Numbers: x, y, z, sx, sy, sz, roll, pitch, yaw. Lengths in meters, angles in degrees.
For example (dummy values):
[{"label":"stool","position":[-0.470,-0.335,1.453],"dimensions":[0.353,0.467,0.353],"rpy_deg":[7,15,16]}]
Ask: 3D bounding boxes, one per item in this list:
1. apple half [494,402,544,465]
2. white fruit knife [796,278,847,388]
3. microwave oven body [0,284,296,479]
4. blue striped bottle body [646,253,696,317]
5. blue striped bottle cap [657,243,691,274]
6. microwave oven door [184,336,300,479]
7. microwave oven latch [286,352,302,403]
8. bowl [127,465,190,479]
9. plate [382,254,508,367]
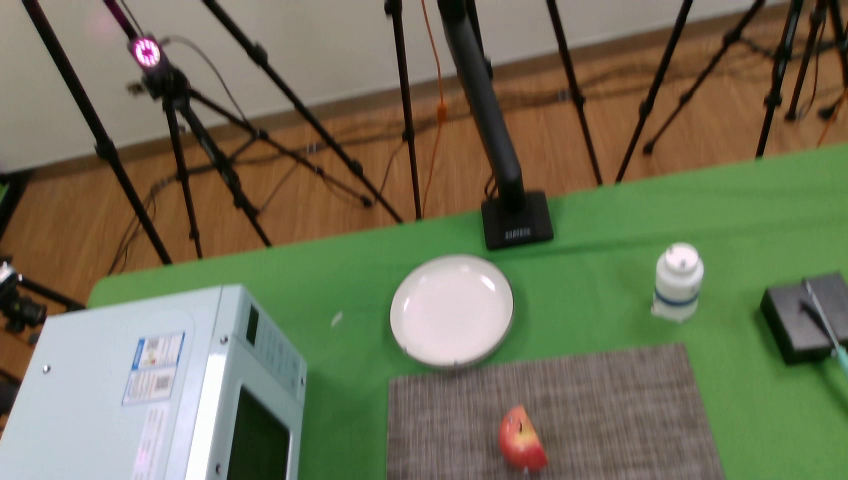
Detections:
[{"label":"apple half","position":[0.123,0.270,0.824],"dimensions":[0.053,0.075,0.080],"rpy_deg":[-27,55,0]},{"label":"white fruit knife","position":[0.540,0.144,0.797],"dimensions":[0.016,0.028,0.205],"rpy_deg":[-24,66,20]},{"label":"microwave oven body","position":[-0.368,0.326,0.799],"dimensions":[0.326,0.263,0.437],"rpy_deg":[-10,52,7]},{"label":"blue striped bottle body","position":[0.363,0.058,0.892],"dimensions":[0.063,0.122,0.062],"rpy_deg":[-8,51,10]},{"label":"blue striped bottle cap","position":[0.352,0.027,0.853],"dimensions":[0.044,0.021,0.044],"rpy_deg":[-7,54,11]},{"label":"microwave oven door","position":[-0.225,0.329,0.750],"dimensions":[0.039,0.246,0.352],"rpy_deg":[-11,51,8]},{"label":"microwave oven latch","position":[-0.211,0.220,0.963],"dimensions":[0.030,0.030,0.078],"rpy_deg":[-10,52,7]},{"label":"bowl","position":[-0.342,0.383,0.799],"dimensions":[0.151,0.077,0.150],"rpy_deg":[-8,61,16]},{"label":"plate","position":[0.036,0.117,0.996],"dimensions":[0.207,0.039,0.205],"rpy_deg":[-7,52,10]}]
